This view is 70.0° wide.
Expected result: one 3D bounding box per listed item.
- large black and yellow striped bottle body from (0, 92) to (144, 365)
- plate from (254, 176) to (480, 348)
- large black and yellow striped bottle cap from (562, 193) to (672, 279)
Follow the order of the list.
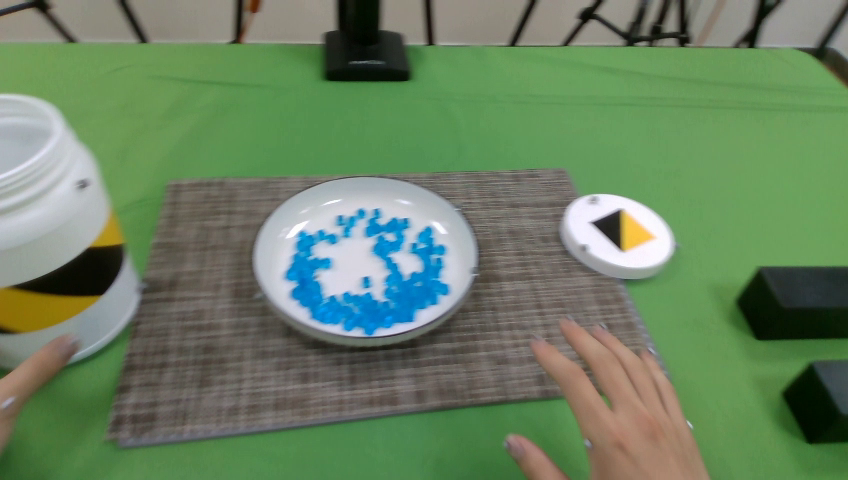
[{"bbox_3d":[-0.305,-0.005,0.465,0.131,0.185,0.129,3,45,-3],"label":"large black and yellow striped bottle body"},{"bbox_3d":[-0.051,0.019,0.571,0.208,0.039,0.205,4,45,-3],"label":"plate"},{"bbox_3d":[0.204,-0.007,0.643,0.115,0.019,0.114,6,45,-6],"label":"large black and yellow striped bottle cap"}]
